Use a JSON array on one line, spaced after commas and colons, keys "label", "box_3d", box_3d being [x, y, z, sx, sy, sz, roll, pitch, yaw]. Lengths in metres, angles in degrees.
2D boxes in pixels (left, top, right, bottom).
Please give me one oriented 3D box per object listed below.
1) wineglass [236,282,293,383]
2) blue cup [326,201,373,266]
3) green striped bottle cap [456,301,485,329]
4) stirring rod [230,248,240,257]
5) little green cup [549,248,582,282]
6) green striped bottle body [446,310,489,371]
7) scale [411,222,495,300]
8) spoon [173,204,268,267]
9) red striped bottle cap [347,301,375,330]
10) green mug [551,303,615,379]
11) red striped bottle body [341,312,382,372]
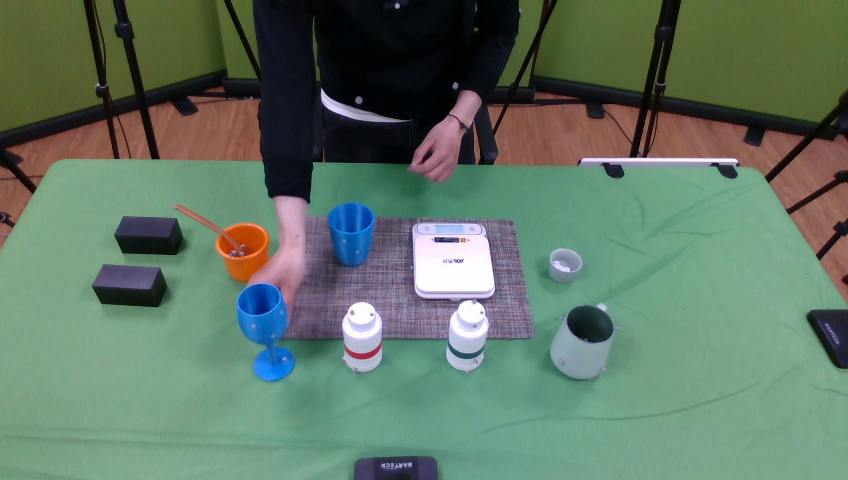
[{"label": "wineglass", "box_3d": [-0.243, 0.143, 0.934, 0.074, 0.173, 0.073, 2, 46, -2]}, {"label": "blue cup", "box_3d": [-0.138, -0.006, 1.131, 0.093, 0.101, 0.092, 3, 45, -3]}, {"label": "green striped bottle cap", "box_3d": [0.073, 0.116, 0.943, 0.044, 0.020, 0.044, 3, 46, -3]}, {"label": "stirring rod", "box_3d": [-0.330, 0.023, 1.059, 0.014, 0.176, 0.006, 33, 79, -12]}, {"label": "little green cup", "box_3d": [0.268, 0.050, 1.156, 0.061, 0.039, 0.061, 1, 46, -1]}, {"label": "green striped bottle body", "box_3d": [0.070, 0.155, 0.984, 0.063, 0.120, 0.063, 2, 46, -2]}, {"label": "scale", "box_3d": [0.052, 0.031, 1.158, 0.149, 0.032, 0.199, 1, 46, -4]}, {"label": "spoon", "box_3d": [-0.362, -0.009, 1.089, 0.021, 0.195, 0.041, -36, 30, 21]}, {"label": "red striped bottle cap", "box_3d": [-0.097, 0.116, 0.934, 0.044, 0.018, 0.044, 2, 49, -3]}, {"label": "green mug", "box_3d": [0.271, 0.157, 1.007, 0.092, 0.105, 0.125, 27, 50, 21]}, {"label": "red striped bottle body", "box_3d": [-0.100, 0.154, 0.972, 0.063, 0.120, 0.062, 2, 46, -1]}]
